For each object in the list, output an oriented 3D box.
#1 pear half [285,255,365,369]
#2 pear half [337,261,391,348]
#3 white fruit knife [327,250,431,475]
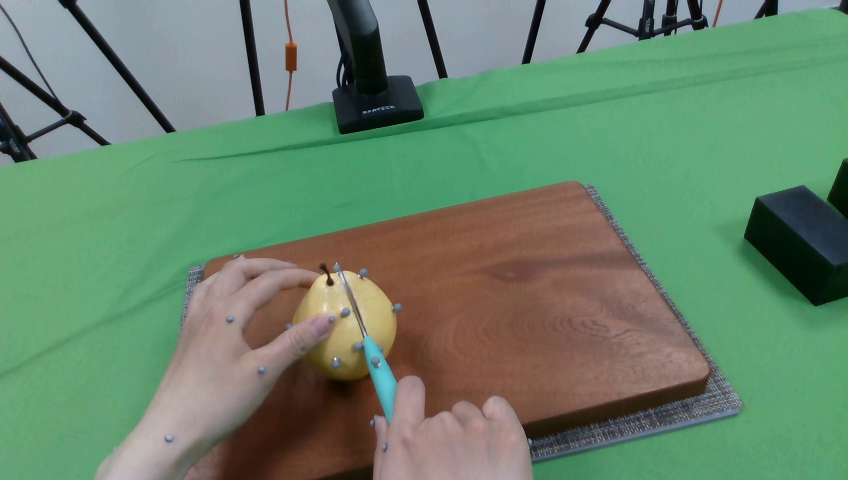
[{"bbox_3d":[-0.081,0.054,0.463,0.056,0.111,0.075,-25,42,-12],"label":"pear half"},{"bbox_3d":[-0.044,0.049,0.478,0.031,0.089,0.069,-21,37,-17],"label":"pear half"},{"bbox_3d":[-0.041,0.075,0.442,0.016,0.028,0.205,-23,48,-10],"label":"white fruit knife"}]
